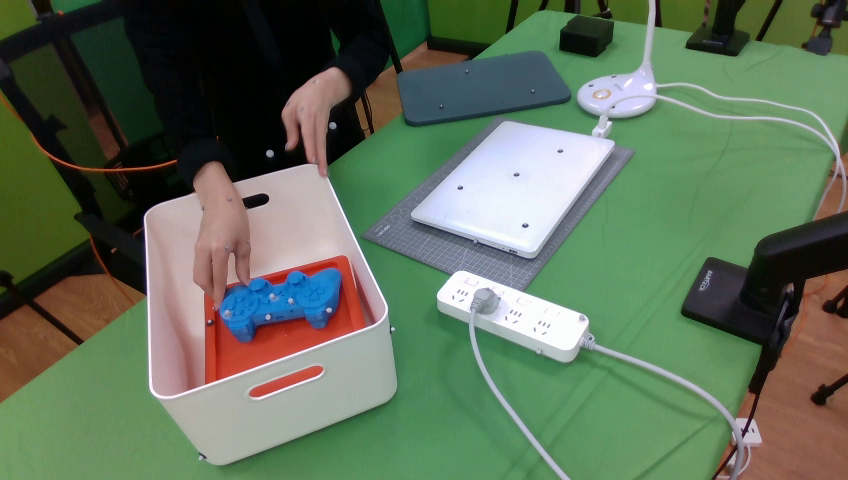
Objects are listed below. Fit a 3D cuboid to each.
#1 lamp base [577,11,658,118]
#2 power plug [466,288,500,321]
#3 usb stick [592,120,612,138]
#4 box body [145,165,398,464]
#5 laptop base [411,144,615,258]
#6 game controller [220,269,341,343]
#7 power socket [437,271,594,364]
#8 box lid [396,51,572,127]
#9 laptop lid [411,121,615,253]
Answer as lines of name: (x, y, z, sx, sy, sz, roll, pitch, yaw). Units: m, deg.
lamp base: (0.406, -0.363, 1.222, 0.180, 0.181, 0.159, -20, 42, -18)
power plug: (0.072, 0.093, 0.813, 0.035, 0.053, 0.073, 30, 54, 35)
usb stick: (0.335, -0.203, 1.149, 0.021, 0.027, 0.059, 25, 53, 26)
box body: (-0.205, 0.080, 0.802, 0.255, 0.161, 0.361, -18, 41, -12)
laptop base: (0.167, -0.102, 1.074, 0.234, 0.023, 0.355, 16, 45, 30)
game controller: (-0.185, 0.075, 0.777, 0.155, 0.052, 0.096, -10, 45, -1)
power socket: (0.118, 0.102, 0.830, 0.225, 0.033, 0.072, 20, 48, 28)
box lid: (0.128, -0.350, 1.380, 0.372, 0.015, 0.261, -10, 41, -2)
laptop lid: (0.164, -0.112, 1.068, 0.240, 0.013, 0.357, 19, 46, 31)
